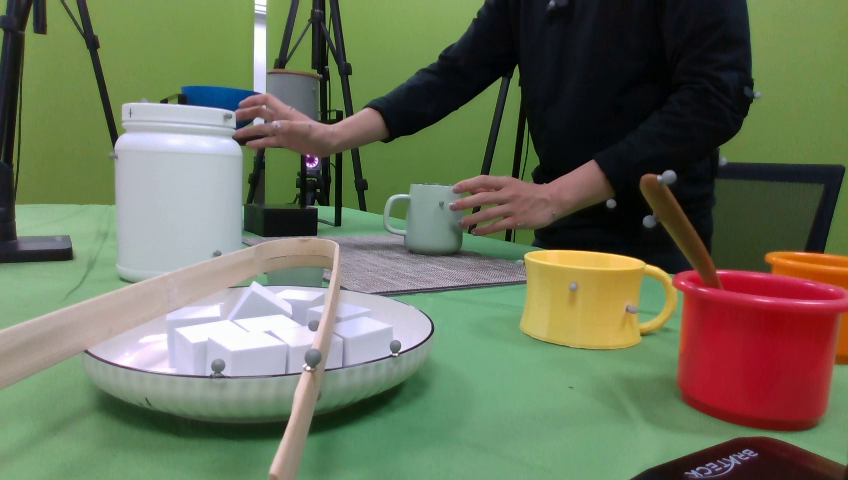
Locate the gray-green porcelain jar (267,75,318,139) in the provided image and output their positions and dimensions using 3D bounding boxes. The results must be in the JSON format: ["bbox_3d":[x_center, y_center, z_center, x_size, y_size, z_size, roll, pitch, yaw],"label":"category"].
[{"bbox_3d":[-0.277,-0.279,1.280,0.106,0.126,0.106,2,8,0],"label":"gray-green porcelain jar"}]

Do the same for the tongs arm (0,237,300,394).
[{"bbox_3d":[-0.158,0.039,0.346,0.028,0.028,0.388,-3,8,11],"label":"tongs arm"}]

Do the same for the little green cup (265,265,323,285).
[{"bbox_3d":[-0.134,0.033,0.628,0.061,0.038,0.061,3,7,0],"label":"little green cup"}]

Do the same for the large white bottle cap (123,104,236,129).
[{"bbox_3d":[-0.266,-0.134,0.663,0.115,0.018,0.115,3,7,0],"label":"large white bottle cap"}]

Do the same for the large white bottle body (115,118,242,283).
[{"bbox_3d":[-0.270,-0.051,0.673,0.131,0.184,0.130,2,8,0],"label":"large white bottle body"}]

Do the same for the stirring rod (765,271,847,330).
[{"bbox_3d":[0.352,0.020,0.481,0.176,0.006,0.014,-40,-8,17],"label":"stirring rod"}]

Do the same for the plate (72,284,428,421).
[{"bbox_3d":[-0.102,0.067,0.381,0.208,0.039,0.207,3,7,0],"label":"plate"}]

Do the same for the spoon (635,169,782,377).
[{"bbox_3d":[0.161,0.026,0.346,0.021,0.194,0.041,-51,32,-19],"label":"spoon"}]

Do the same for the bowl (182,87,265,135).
[{"bbox_3d":[-0.383,-0.243,1.158,0.151,0.077,0.151,2,7,0],"label":"bowl"}]

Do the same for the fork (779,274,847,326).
[{"bbox_3d":[0.332,0.019,0.443,0.028,0.018,0.207,-3,-35,-16],"label":"fork"}]

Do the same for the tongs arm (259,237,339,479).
[{"bbox_3d":[-0.074,0.040,0.345,0.051,0.026,0.384,-2,9,-3],"label":"tongs arm"}]

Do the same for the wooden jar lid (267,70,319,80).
[{"bbox_3d":[-0.275,-0.339,1.271,0.108,0.020,0.108,5,6,0],"label":"wooden jar lid"}]

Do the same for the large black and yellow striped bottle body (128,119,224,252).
[{"bbox_3d":[-0.361,-0.081,0.887,0.131,0.184,0.130,2,8,0],"label":"large black and yellow striped bottle body"}]

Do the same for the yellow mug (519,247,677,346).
[{"bbox_3d":[0.148,0.045,0.513,0.131,0.064,0.100,3,7,0],"label":"yellow mug"}]

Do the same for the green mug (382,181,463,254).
[{"bbox_3d":[-0.001,-0.036,0.921,0.126,0.105,0.092,0,8,-15],"label":"green mug"}]

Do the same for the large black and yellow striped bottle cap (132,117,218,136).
[{"bbox_3d":[-0.359,-0.164,0.875,0.115,0.019,0.115,2,6,0],"label":"large black and yellow striped bottle cap"}]
